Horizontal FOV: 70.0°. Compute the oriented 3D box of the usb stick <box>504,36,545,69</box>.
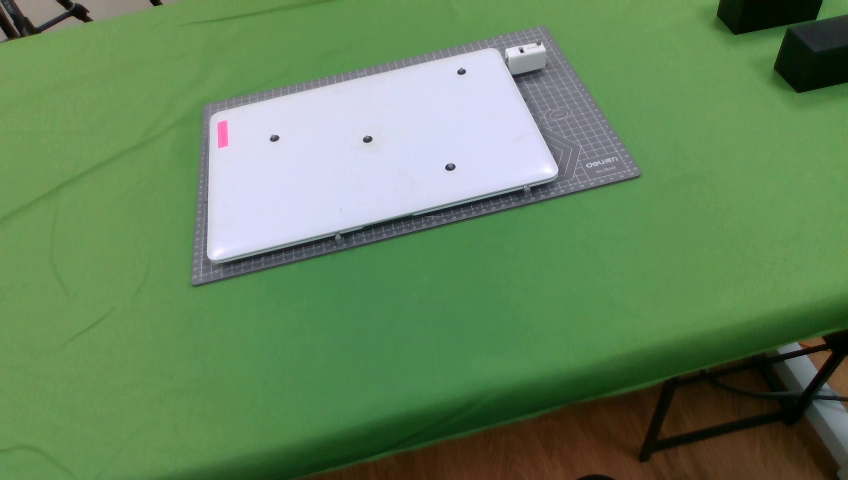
[{"bbox_3d":[0.111,-0.218,0.711,0.059,0.027,0.021,-15,49,1],"label":"usb stick"}]

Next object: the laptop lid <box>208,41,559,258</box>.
[{"bbox_3d":[-0.059,-0.111,0.652,0.357,0.013,0.239,-13,52,-1],"label":"laptop lid"}]

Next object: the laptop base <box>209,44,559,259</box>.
[{"bbox_3d":[-0.058,-0.106,0.662,0.354,0.023,0.233,-14,53,-2],"label":"laptop base"}]
